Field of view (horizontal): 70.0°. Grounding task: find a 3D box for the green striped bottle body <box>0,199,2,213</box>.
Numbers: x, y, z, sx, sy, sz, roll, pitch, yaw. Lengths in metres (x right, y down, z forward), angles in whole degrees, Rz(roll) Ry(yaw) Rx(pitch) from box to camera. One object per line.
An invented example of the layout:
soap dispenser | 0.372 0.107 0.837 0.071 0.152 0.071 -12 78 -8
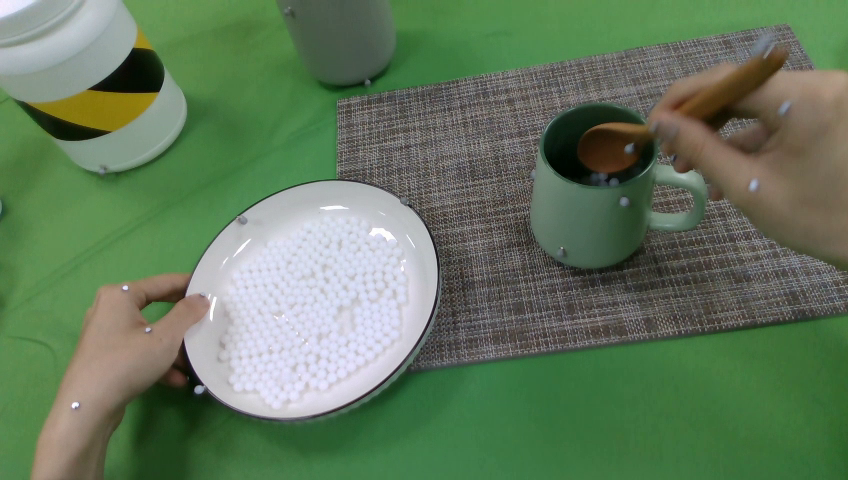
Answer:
green striped bottle body | -0.462 -0.054 0.559 0.063 0.120 0.062 -5 57 8

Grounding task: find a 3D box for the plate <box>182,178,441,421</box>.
plate | -0.086 0.043 0.482 0.209 0.038 0.207 -6 58 9

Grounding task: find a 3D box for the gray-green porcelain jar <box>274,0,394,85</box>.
gray-green porcelain jar | -0.088 -0.228 0.601 0.106 0.128 0.105 -4 58 7

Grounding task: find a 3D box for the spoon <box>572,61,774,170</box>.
spoon | 0.138 -0.067 0.363 0.042 0.193 0.021 30 85 -6

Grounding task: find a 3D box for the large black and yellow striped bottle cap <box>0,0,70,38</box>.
large black and yellow striped bottle cap | -0.337 -0.209 0.496 0.115 0.019 0.114 -4 57 7

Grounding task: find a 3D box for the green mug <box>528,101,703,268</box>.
green mug | 0.141 -0.036 0.452 0.125 0.106 0.092 12 60 16

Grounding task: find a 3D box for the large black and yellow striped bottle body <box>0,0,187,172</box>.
large black and yellow striped bottle body | -0.324 -0.167 0.567 0.130 0.186 0.129 -4 58 7
